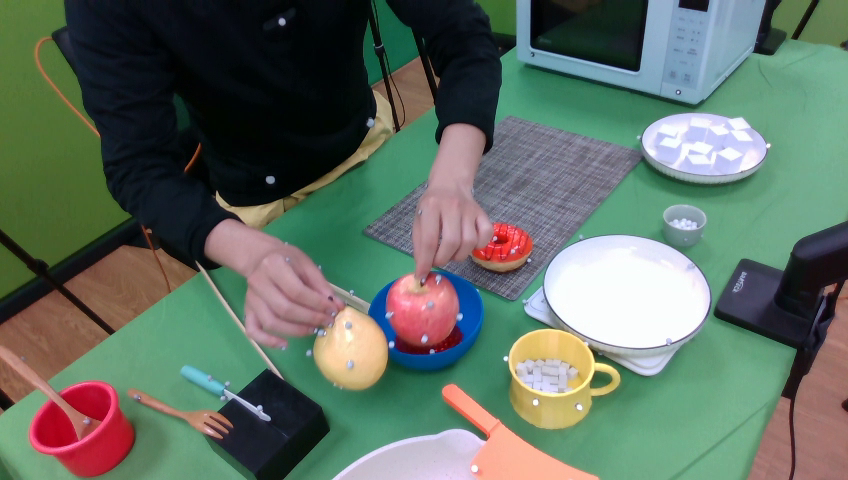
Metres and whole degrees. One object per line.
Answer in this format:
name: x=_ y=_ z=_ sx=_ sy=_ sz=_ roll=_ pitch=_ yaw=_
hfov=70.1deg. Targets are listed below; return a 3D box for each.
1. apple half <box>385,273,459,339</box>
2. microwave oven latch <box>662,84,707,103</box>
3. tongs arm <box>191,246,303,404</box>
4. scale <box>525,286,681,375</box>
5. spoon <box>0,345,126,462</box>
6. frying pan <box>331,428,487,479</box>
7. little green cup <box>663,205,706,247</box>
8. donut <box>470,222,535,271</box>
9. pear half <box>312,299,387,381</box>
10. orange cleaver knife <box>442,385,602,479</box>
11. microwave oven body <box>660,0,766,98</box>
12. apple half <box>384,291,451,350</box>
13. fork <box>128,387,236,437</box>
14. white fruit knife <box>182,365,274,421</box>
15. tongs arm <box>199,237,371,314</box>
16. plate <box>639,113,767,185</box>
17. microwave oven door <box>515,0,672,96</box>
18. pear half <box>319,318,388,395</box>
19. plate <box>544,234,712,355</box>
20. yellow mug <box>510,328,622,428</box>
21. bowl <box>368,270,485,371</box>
apple half: x=0.004 y=0.070 z=0.662 sx=0.080 sy=0.075 sz=0.053 roll=5 pitch=37 yaw=25
microwave oven latch: x=0.517 y=-0.296 z=1.204 sx=0.078 sy=0.029 sz=0.030 roll=27 pitch=52 yaw=35
tongs arm: x=-0.268 y=0.111 z=0.881 sx=0.028 sy=0.028 sz=0.384 roll=-36 pitch=46 yaw=-19
scale: x=0.254 y=0.091 z=0.821 sx=0.199 sy=0.032 sz=0.149 roll=27 pitch=51 yaw=35
spoon: x=-0.434 y=0.192 z=0.720 sx=0.194 sy=0.021 sz=0.042 roll=47 pitch=53 yaw=-7
frying pan: x=-0.089 y=0.306 z=0.564 sx=0.487 sy=0.103 sz=0.306 roll=10 pitch=42 yaw=7
little green cup: x=0.396 y=-0.020 z=0.926 sx=0.061 sy=0.039 sz=0.061 roll=-4 pitch=40 yaw=4
donut: x=0.119 y=0.009 z=0.923 sx=0.099 sy=0.048 sz=0.098 roll=-4 pitch=38 yaw=3
pear half: x=-0.084 y=0.099 z=0.630 sx=0.076 sy=0.110 sz=0.055 roll=-25 pitch=31 yaw=-20
orange cleaver knife: x=0.086 y=0.219 z=0.612 sx=0.209 sy=0.012 sz=0.077 roll=28 pitch=49 yaw=35
microwave oven body: x=0.472 y=-0.513 z=1.317 sx=0.438 sy=0.261 sz=0.327 roll=26 pitch=51 yaw=34
apple half: x=-0.011 y=0.093 z=0.633 sx=0.081 sy=0.081 sz=0.033 roll=11 pitch=39 yaw=21
fork: x=-0.305 y=0.208 z=0.744 sx=0.206 sy=0.019 sz=0.028 roll=3 pitch=40 yaw=36
white fruit knife: x=-0.245 y=0.188 z=0.747 sx=0.205 sy=0.027 sz=0.016 roll=9 pitch=41 yaw=41
tongs arm: x=-0.209 y=0.063 z=0.923 sx=0.382 sy=0.026 sz=0.051 roll=22 pitch=52 yaw=32
plate: x=0.489 y=-0.157 z=1.074 sx=0.207 sy=0.039 sz=0.206 roll=-4 pitch=40 yaw=4
microwave oven door: x=0.343 y=-0.454 z=1.258 sx=0.353 sy=0.245 sz=0.039 roll=26 pitch=51 yaw=33
pear half: x=-0.067 y=0.121 z=0.607 sx=0.071 sy=0.088 sz=0.031 roll=-25 pitch=29 yaw=-21
plate: x=0.262 y=0.072 z=0.792 sx=0.209 sy=0.038 sz=0.208 roll=-4 pitch=41 yaw=4
yellow mug: x=0.168 y=0.164 z=0.721 sx=0.130 sy=0.064 sz=0.099 roll=0 pitch=40 yaw=8
bowl: x=0.007 y=0.118 z=0.791 sx=0.151 sy=0.077 sz=0.150 roll=-4 pitch=40 yaw=4
